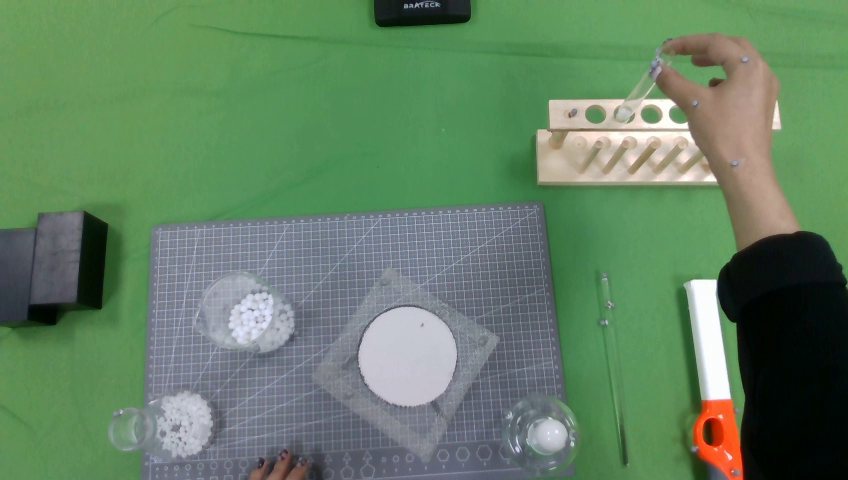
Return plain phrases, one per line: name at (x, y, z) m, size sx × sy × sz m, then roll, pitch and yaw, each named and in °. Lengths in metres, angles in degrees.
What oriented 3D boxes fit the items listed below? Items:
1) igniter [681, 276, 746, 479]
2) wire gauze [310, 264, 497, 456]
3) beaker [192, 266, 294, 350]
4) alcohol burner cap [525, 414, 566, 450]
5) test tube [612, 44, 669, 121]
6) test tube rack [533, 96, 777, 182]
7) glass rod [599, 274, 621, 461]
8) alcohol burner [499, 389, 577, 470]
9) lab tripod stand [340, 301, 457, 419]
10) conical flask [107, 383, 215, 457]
igniter at (0.303, 0.174, 0.638) m, size 0.057 × 0.025 × 0.275 m, roll 1°, pitch 76°, yaw -11°
wire gauze at (-0.017, 0.102, 0.529) m, size 0.125 × 0.011 × 0.121 m, roll 33°, pitch 80°, yaw 8°
beaker at (-0.180, 0.076, 0.622) m, size 0.084 × 0.101 × 0.073 m, roll -19°, pitch 76°, yaw -4°
alcohol burner cap at (0.113, 0.174, 0.554) m, size 0.034 × 0.048 × 0.033 m, roll 1°, pitch 70°, yaw -2°
test tube at (0.204, -0.146, 0.582) m, size 0.017 × 0.151 × 0.017 m, roll -1°, pitch 80°, yaw 4°
test tube rack at (0.251, -0.110, 0.677) m, size 0.242 × 0.085 × 0.066 m, roll 0°, pitch 76°, yaw 0°
glass rod at (0.202, 0.135, 0.657) m, size 0.008 × 0.008 × 0.199 m, roll -2°, pitch 79°, yaw -1°
alcohol burner at (0.112, 0.184, 0.588) m, size 0.078 × 0.120 × 0.077 m, roll -1°, pitch 75°, yaw 3°
lab tripod stand at (-0.019, 0.115, 0.595) m, size 0.148 × 0.132 × 0.147 m, roll 0°, pitch 78°, yaw 1°
conical flask at (-0.257, 0.176, 0.586) m, size 0.075 × 0.122 × 0.075 m, roll 0°, pitch 76°, yaw 0°
